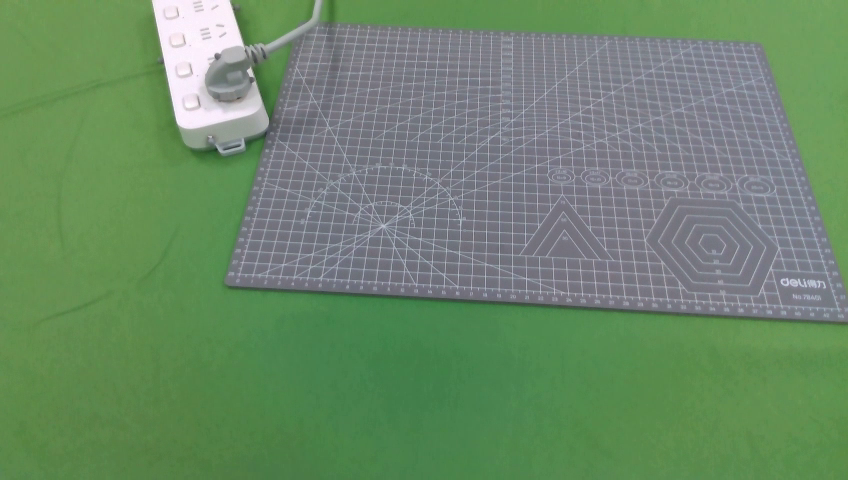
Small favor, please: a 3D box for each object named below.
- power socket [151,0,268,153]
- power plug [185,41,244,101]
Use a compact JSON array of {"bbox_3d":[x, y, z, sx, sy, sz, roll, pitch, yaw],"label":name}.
[{"bbox_3d":[-0.199,-0.172,0.551,0.072,0.033,0.224,-17,59,-12],"label":"power socket"},{"bbox_3d":[-0.183,-0.141,0.505,0.072,0.035,0.052,1,60,26],"label":"power plug"}]
